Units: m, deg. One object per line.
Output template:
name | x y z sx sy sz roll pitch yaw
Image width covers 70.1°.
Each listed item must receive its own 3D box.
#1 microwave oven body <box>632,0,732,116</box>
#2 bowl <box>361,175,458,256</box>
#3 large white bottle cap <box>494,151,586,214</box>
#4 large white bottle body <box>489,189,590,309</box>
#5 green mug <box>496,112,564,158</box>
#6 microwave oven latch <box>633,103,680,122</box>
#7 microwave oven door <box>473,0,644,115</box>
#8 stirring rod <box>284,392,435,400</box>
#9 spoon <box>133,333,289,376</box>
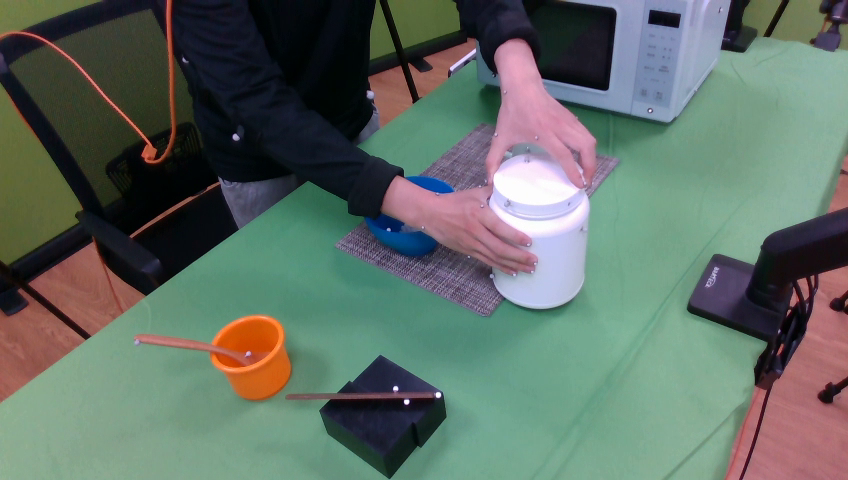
microwave oven body | 0.377 -0.462 1.267 0.438 0.261 0.327 21 48 30
bowl | -0.019 -0.029 0.955 0.151 0.077 0.150 -4 40 3
large white bottle cap | 0.145 -0.075 0.762 0.115 0.018 0.114 -5 41 5
large white bottle body | 0.155 -0.012 0.818 0.130 0.185 0.130 -5 41 5
green mug | 0.185 -0.161 1.061 0.124 0.105 0.092 15 46 25
microwave oven latch | 0.444 -0.249 1.157 0.078 0.029 0.030 21 49 30
microwave oven door | 0.257 -0.396 1.199 0.353 0.245 0.039 21 48 29
stirring rod | -0.075 0.180 0.698 0.176 0.006 0.014 -2 6 6
spoon | -0.257 0.137 0.747 0.195 0.021 0.041 25 27 -36
